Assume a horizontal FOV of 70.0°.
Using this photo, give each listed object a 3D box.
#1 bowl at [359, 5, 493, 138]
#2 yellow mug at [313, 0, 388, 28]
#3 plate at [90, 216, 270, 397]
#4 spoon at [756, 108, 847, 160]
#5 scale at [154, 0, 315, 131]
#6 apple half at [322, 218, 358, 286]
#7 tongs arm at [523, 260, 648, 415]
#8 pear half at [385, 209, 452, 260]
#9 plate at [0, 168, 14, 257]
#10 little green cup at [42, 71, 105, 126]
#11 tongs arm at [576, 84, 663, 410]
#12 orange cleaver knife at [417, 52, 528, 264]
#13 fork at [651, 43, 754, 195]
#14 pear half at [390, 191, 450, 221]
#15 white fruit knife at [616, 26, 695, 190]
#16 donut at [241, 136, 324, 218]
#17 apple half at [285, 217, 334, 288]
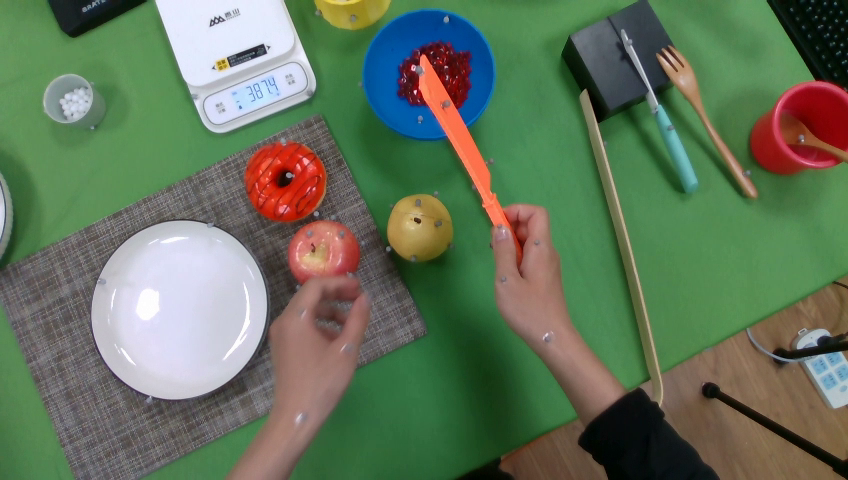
[{"bbox_3d":[0.004,-0.185,0.711,0.151,0.077,0.151,0,85,2],"label":"bowl"},{"bbox_3d":[-0.108,-0.327,0.734,0.130,0.064,0.100,31,86,5],"label":"yellow mug"},{"bbox_3d":[-0.280,0.077,0.711,0.209,0.038,0.208,0,84,2],"label":"plate"},{"bbox_3d":[0.442,-0.097,0.655,0.041,0.022,0.191,-32,40,-2],"label":"spoon"},{"bbox_3d":[-0.235,-0.249,0.748,0.149,0.031,0.200,-22,85,0],"label":"scale"},{"bbox_3d":[-0.091,0.016,0.692,0.033,0.081,0.081,7,84,6],"label":"apple half"},{"bbox_3d":[0.145,0.034,0.707,0.051,0.026,0.384,-26,85,-6],"label":"tongs arm"},{"bbox_3d":[-0.009,-0.007,0.678,0.076,0.110,0.056,6,82,7],"label":"pear half"},{"bbox_3d":[-0.596,-0.027,0.735,0.207,0.039,0.207,0,84,2],"label":"plate"},{"bbox_3d":[-0.428,-0.170,0.743,0.061,0.039,0.061,0,84,2],"label":"little green cup"},{"bbox_3d":[0.226,0.003,0.713,0.028,0.028,0.386,-11,85,-8],"label":"tongs arm"},{"bbox_3d":[0.046,-0.073,0.558,0.012,0.076,0.213,-23,114,21],"label":"orange cleaver knife"},{"bbox_3d":[0.327,-0.138,0.703,0.028,0.018,0.208,-36,100,-4],"label":"fork"},{"bbox_3d":[-0.004,-0.041,0.691,0.070,0.088,0.031,4,84,6],"label":"pear half"},{"bbox_3d":[0.266,-0.151,0.699,0.016,0.027,0.208,-29,99,-1],"label":"white fruit knife"},{"bbox_3d":[-0.168,-0.074,0.719,0.099,0.048,0.099,0,86,4],"label":"donut"},{"bbox_3d":[-0.130,0.013,0.695,0.053,0.075,0.080,7,87,6],"label":"apple half"}]
